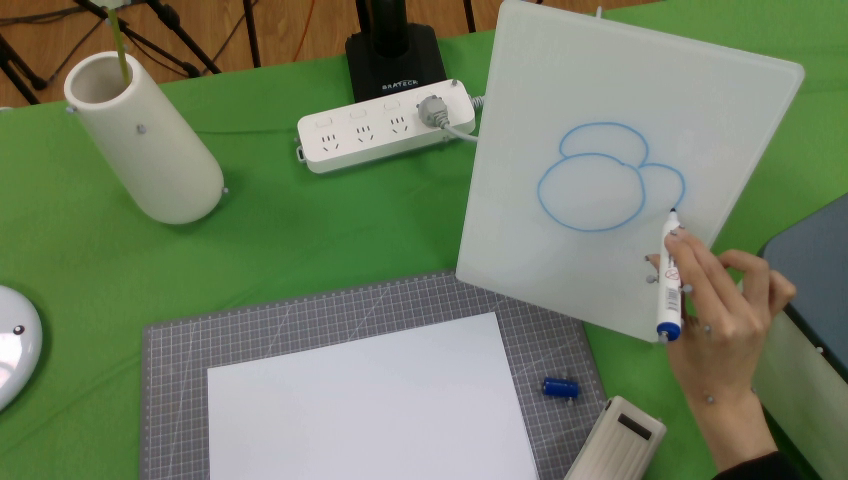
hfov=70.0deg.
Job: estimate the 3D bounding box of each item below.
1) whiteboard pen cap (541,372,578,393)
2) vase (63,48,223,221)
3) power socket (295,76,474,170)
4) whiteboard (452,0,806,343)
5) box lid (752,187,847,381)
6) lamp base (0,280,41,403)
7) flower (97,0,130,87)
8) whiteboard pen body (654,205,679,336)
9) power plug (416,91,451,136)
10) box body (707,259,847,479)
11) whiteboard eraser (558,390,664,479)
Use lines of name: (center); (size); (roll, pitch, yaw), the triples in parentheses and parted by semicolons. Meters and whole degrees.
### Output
whiteboard pen cap: (0.132, 0.139, 0.589); (0.033, 0.018, 0.018); (7, 63, 3)
vase: (-0.284, -0.101, 0.626); (0.098, 0.201, 0.097); (-1, 63, 3)
power socket: (-0.046, -0.142, 0.731); (0.227, 0.033, 0.071); (-15, 65, -6)
whiteboard: (0.168, -0.079, 0.574); (0.216, 0.308, 0.143); (18, 44, 12)
box lid: (0.454, 0.089, 0.439); (0.263, 0.015, 0.368); (-28, 66, -10)
lamp base: (-0.491, 0.074, 0.556); (0.178, 0.182, 0.160); (19, 65, 15)
flower: (-0.266, -0.135, 0.551); (0.038, 0.363, 0.044); (37, 60, 1)
whiteboard pen body: (0.185, 0.017, 0.459); (0.017, 0.017, 0.140); (15, 45, 10)
power plug: (0.010, -0.140, 0.703); (0.035, 0.053, 0.072); (-6, 69, -1)
box body: (0.458, 0.126, 0.505); (0.254, 0.161, 0.361); (-27, 65, -11)
whiteboard eraser: (0.165, 0.196, 0.545); (0.055, 0.042, 0.112); (31, 69, 17)
